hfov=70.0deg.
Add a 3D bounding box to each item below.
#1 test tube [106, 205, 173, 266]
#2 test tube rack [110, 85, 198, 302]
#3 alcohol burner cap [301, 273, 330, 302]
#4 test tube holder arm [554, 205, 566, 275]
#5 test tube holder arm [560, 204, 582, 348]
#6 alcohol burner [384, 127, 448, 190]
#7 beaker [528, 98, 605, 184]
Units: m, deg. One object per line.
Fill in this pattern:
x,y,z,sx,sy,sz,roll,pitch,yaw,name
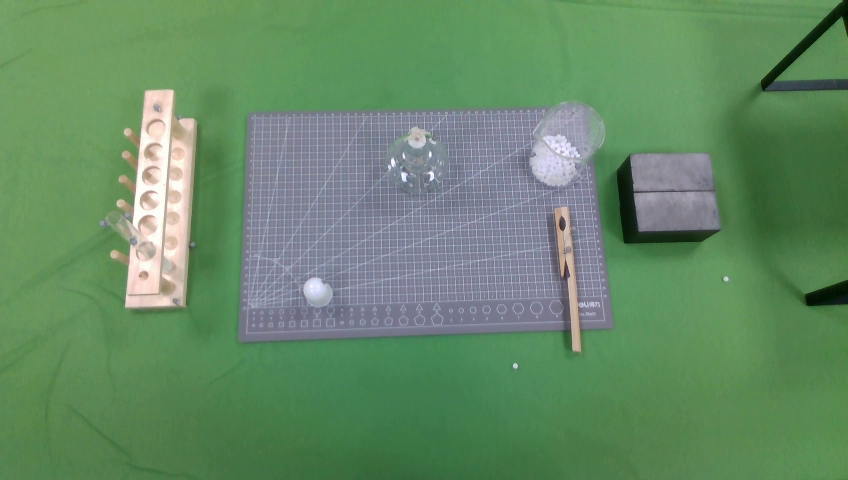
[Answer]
-0.302,0.000,0.651,0.017,0.151,0.017,1,69,-2,test tube
-0.322,-0.053,0.715,0.067,0.085,0.241,-1,75,-2,test tube rack
-0.130,0.054,0.714,0.034,0.048,0.033,1,74,-3,alcohol burner cap
0.171,0.000,0.754,0.010,0.015,0.087,-10,75,27,test tube holder arm
0.179,0.042,0.741,0.013,0.015,0.177,-11,75,27,test tube holder arm
-0.010,-0.105,0.725,0.078,0.119,0.077,0,75,0,alcohol burner
0.167,-0.116,0.742,0.084,0.101,0.073,-3,74,-2,beaker
